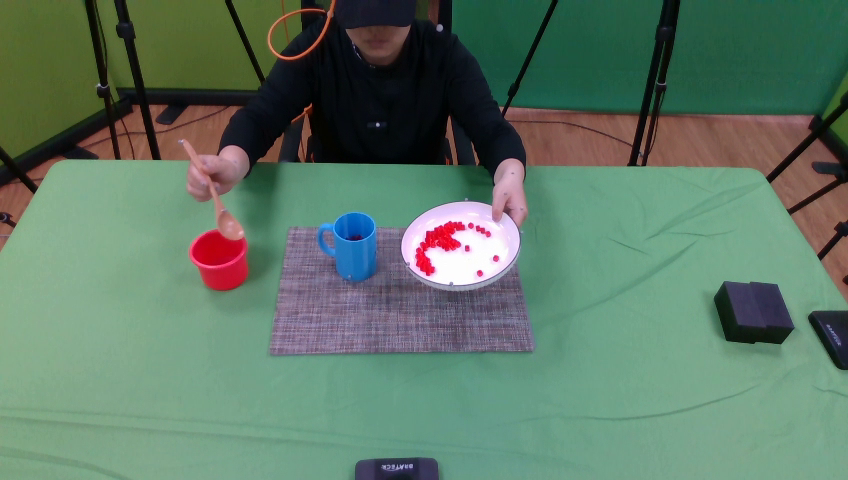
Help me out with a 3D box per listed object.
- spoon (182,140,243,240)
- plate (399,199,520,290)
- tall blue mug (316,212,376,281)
[{"bbox_3d":[-0.362,-0.086,1.034,0.041,0.021,0.193,-28,94,-54],"label":"spoon"},{"bbox_3d":[0.061,0.012,1.044,0.207,0.039,0.206,-5,44,5],"label":"plate"},{"bbox_3d":[-0.142,0.014,1.109,0.107,0.108,0.077,-5,48,-8],"label":"tall blue mug"}]
